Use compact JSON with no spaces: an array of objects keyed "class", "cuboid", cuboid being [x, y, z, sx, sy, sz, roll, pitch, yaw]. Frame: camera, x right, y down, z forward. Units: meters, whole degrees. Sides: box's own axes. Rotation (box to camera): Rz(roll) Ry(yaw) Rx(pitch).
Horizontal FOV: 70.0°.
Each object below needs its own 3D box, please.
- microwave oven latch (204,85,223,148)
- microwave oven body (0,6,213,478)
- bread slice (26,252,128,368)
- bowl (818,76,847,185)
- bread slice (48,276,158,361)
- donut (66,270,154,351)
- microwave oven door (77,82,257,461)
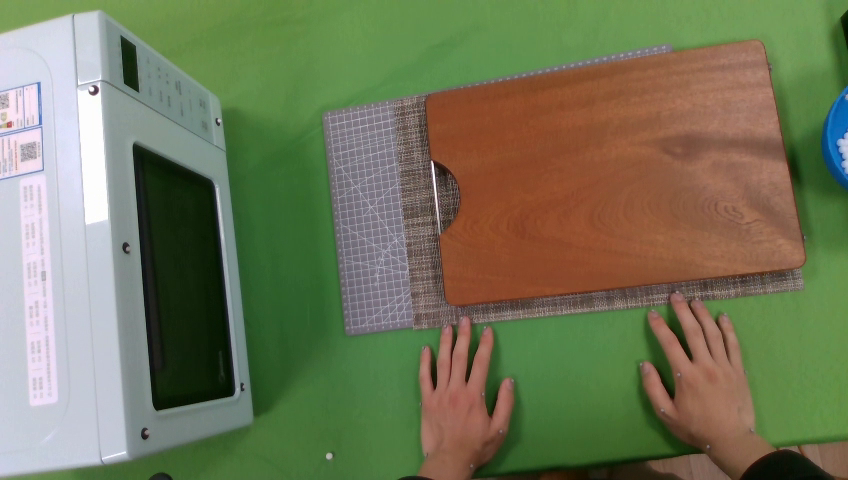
[{"class":"microwave oven latch","cuboid":[-0.287,-0.161,0.800,0.030,0.029,0.079,-10,81,8]},{"class":"microwave oven body","cuboid":[-0.421,0.025,0.701,0.326,0.261,0.440,-11,81,8]},{"class":"bread slice","cuboid":[-0.390,0.087,0.673,0.134,0.018,0.106,-24,81,21]},{"class":"bowl","cuboid":[0.494,-0.110,0.649,0.151,0.077,0.151,-1,83,11]},{"class":"bread slice","cuboid":[-0.400,0.096,0.752,0.131,0.019,0.105,2,89,2]},{"class":"donut","cuboid":[-0.373,0.083,0.719,0.099,0.048,0.099,0,98,-2]},{"class":"microwave oven door","cuboid":[-0.274,0.038,0.668,0.039,0.245,0.354,-11,80,9]}]
